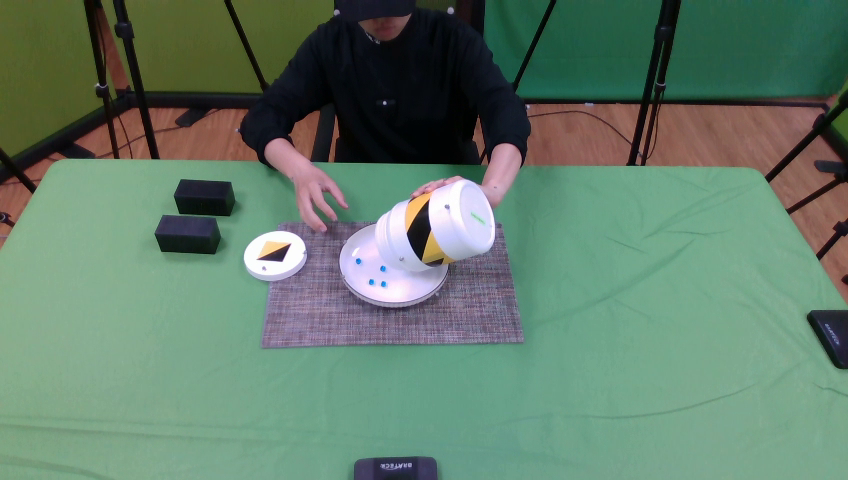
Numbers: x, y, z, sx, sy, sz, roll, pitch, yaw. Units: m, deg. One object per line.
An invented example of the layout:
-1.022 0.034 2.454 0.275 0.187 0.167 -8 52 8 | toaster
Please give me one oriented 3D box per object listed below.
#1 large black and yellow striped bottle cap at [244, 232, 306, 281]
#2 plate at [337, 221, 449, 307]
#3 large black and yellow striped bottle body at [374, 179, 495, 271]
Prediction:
-0.282 0.030 1.145 0.115 0.019 0.114 -1 45 1 | large black and yellow striped bottle cap
-0.057 0.045 1.133 0.208 0.039 0.206 2 46 -2 | plate
0.016 -0.019 1.057 0.184 0.131 0.130 -18 36 32 | large black and yellow striped bottle body
